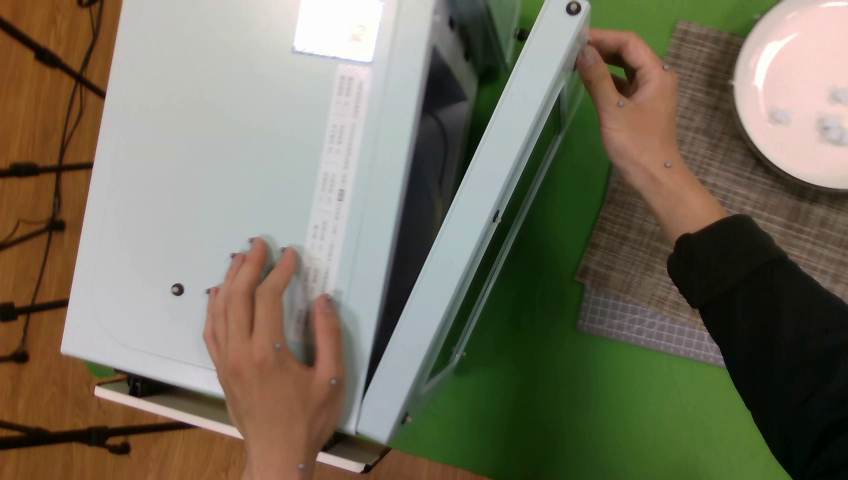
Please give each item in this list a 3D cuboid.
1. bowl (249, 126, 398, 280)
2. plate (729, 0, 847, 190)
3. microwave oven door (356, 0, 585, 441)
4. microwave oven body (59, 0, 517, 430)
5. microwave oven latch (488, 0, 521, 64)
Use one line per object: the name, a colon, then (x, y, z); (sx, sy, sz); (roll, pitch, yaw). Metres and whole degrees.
bowl: (-0.092, -0.035, 0.623); (0.151, 0.077, 0.151); (0, 89, 11)
plate: (0.410, -0.150, 0.595); (0.208, 0.038, 0.209); (-1, 88, 12)
microwave oven door: (0.054, -0.010, 0.553); (0.039, 0.244, 0.356); (25, 94, 13)
microwave oven body: (-0.113, -0.092, 0.596); (0.325, 0.261, 0.441); (12, 92, 12)
microwave oven latch: (0.085, -0.234, 0.654); (0.030, 0.029, 0.079); (12, 92, 12)
